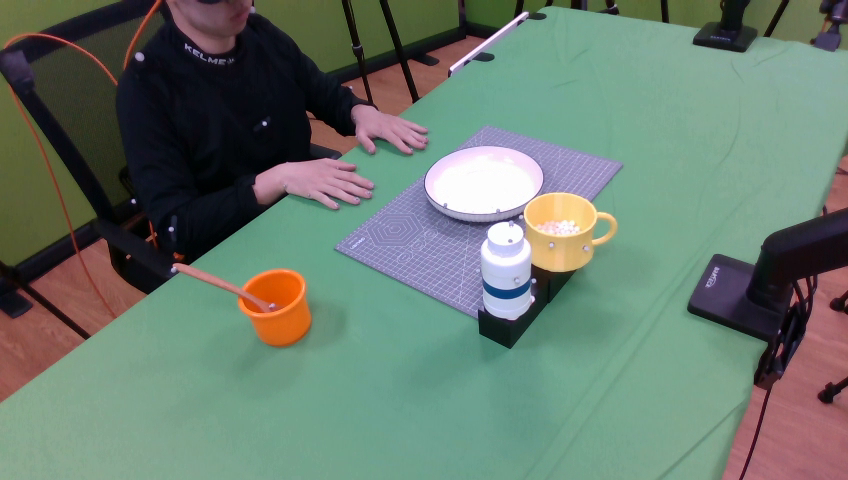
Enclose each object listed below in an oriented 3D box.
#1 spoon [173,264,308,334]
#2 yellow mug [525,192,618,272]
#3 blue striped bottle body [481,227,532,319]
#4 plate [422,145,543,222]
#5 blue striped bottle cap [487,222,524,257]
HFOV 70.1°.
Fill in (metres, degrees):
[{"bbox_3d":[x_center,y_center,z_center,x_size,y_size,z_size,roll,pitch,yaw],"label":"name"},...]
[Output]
[{"bbox_3d":[-0.245,0.077,0.817,0.021,0.195,0.041,-39,29,33],"label":"spoon"},{"bbox_3d":[0.206,-0.014,0.845,0.131,0.064,0.099,-4,41,2],"label":"yellow mug"},{"bbox_3d":[0.104,0.037,0.756,0.063,0.121,0.063,-4,40,4],"label":"blue striped bottle body"},{"bbox_3d":[0.101,-0.094,1.048,0.207,0.039,0.206,-4,41,4],"label":"plate"},{"bbox_3d":[0.097,-0.001,0.722,0.044,0.021,0.044,-2,39,2],"label":"blue striped bottle cap"}]
